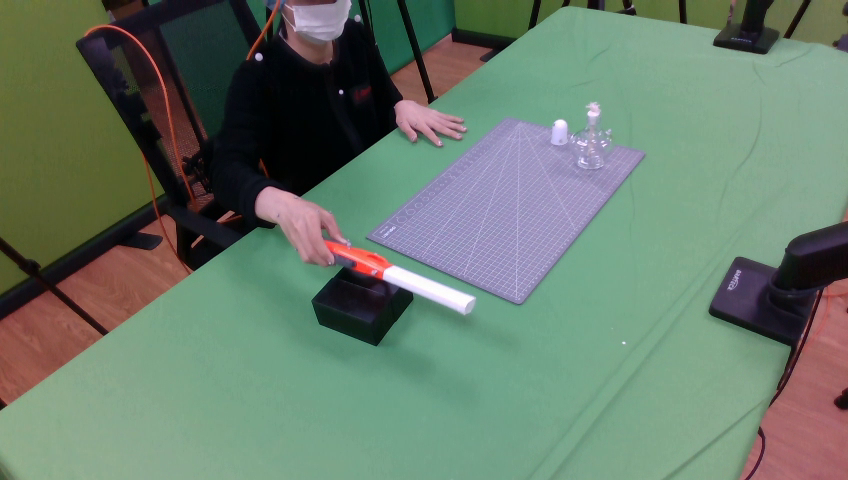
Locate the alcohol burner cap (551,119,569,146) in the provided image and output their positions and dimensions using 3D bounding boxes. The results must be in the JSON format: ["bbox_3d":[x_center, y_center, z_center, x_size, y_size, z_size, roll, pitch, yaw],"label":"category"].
[{"bbox_3d":[0.261,-0.208,1.156,0.034,0.048,0.033,-5,41,5],"label":"alcohol burner cap"}]

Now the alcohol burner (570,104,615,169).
[{"bbox_3d":[0.299,-0.186,1.071,0.078,0.119,0.077,-6,41,6],"label":"alcohol burner"}]

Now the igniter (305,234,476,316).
[{"bbox_3d":[-0.057,0.042,0.823,0.274,0.025,0.057,21,22,26],"label":"igniter"}]
